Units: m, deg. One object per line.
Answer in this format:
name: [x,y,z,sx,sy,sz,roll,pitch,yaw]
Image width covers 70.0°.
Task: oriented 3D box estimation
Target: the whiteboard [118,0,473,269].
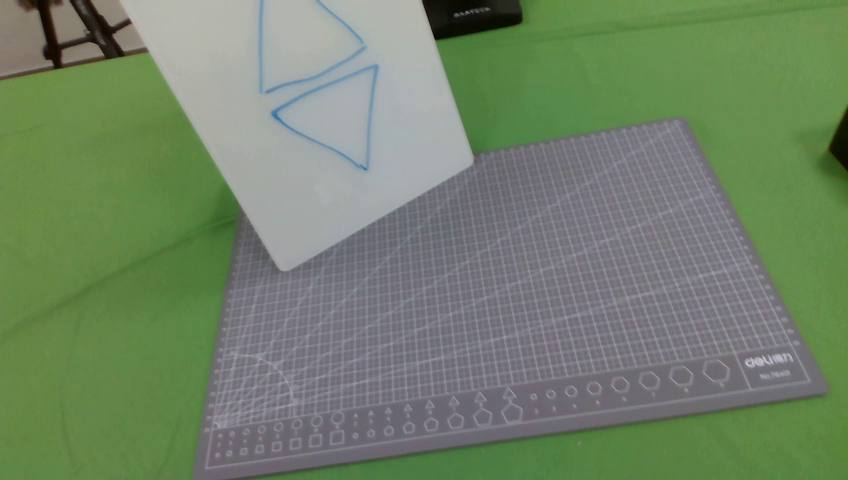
whiteboard: [-0.121,-0.172,0.547,0.217,0.308,0.142,-31,32,-13]
